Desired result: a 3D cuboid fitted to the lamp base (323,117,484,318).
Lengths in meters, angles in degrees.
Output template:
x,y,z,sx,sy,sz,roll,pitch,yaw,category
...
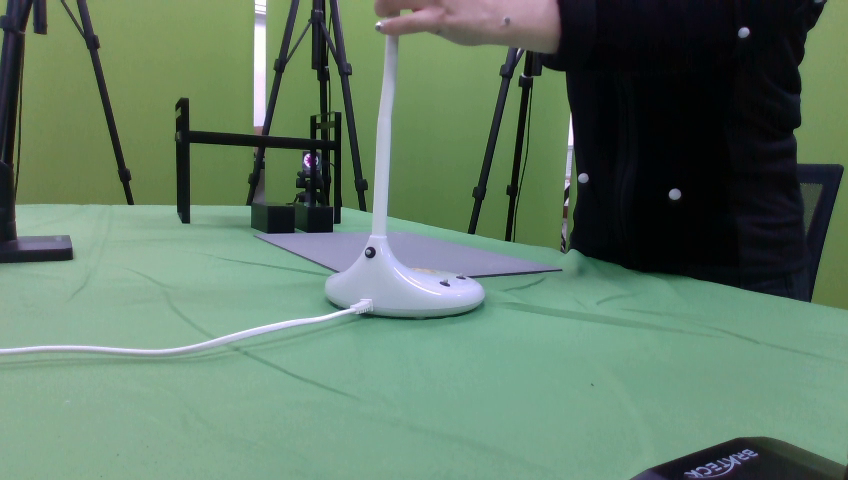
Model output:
x,y,z,sx,sy,sz,roll,pitch,yaw,category
-0.021,-0.025,0.582,0.160,0.180,0.179,4,10,16,lamp base
